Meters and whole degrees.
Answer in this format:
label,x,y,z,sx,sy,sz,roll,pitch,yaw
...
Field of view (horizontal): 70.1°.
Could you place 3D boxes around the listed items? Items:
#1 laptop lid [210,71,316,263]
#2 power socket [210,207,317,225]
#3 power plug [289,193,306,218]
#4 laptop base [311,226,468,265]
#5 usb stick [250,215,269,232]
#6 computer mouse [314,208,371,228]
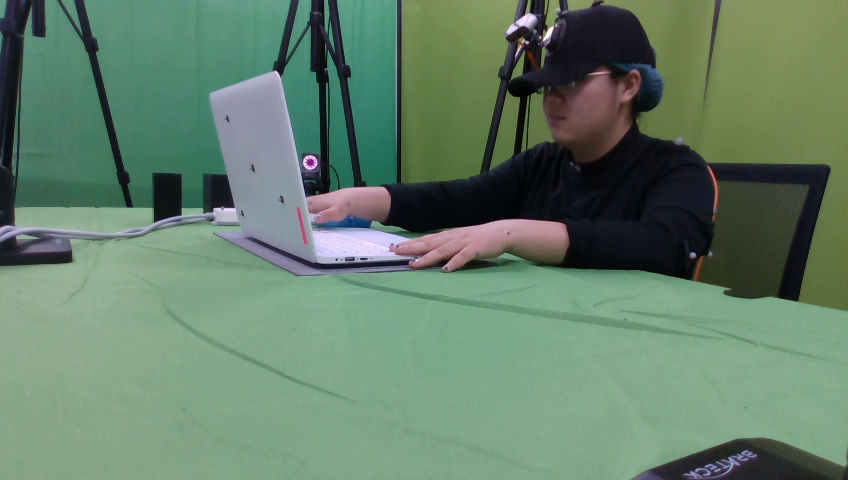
label,x,y,z,sx,sy,sz,roll,pitch,yaw
laptop lid,-0.241,-0.104,0.861,0.013,0.241,0.355,-16,17,-29
power socket,-0.334,-0.051,1.280,0.228,0.032,0.072,-1,8,-28
power plug,-0.281,-0.076,1.340,0.035,0.052,0.072,3,5,-17
laptop base,-0.123,0.006,0.951,0.237,0.023,0.352,2,6,-32
usb stick,-0.290,-0.028,1.070,0.021,0.027,0.059,0,11,-31
computer mouse,-0.173,-0.046,1.284,0.118,0.041,0.062,-7,13,-29
